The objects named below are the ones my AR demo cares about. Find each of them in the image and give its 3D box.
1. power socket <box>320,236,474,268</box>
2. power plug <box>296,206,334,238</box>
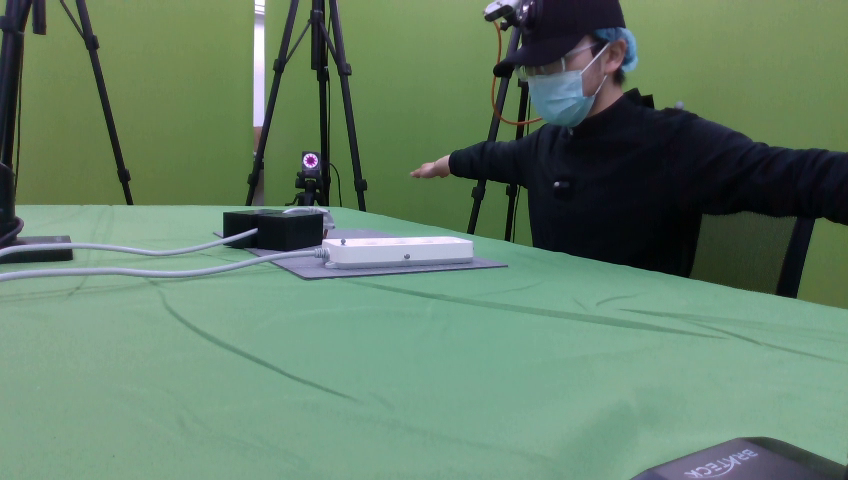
[{"bbox_3d":[-0.033,0.013,0.823,0.228,0.032,0.072,-2,8,-30],"label":"power socket"},{"bbox_3d":[-0.187,-0.031,1.022,0.073,0.052,0.035,9,13,-25],"label":"power plug"}]
